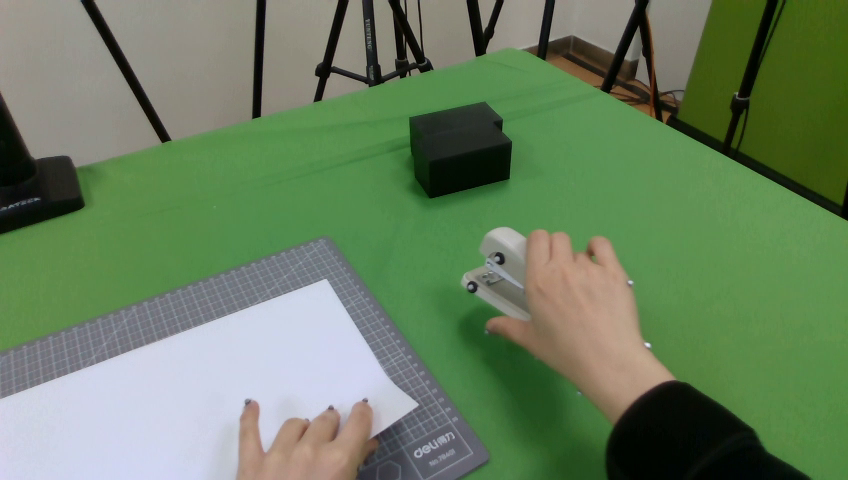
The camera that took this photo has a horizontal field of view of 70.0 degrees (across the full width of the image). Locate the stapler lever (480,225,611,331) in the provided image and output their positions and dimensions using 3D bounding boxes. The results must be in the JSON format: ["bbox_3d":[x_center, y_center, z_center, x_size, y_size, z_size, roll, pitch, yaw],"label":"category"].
[{"bbox_3d":[0.093,0.026,0.476,0.027,0.040,0.117,-23,42,-40],"label":"stapler lever"}]

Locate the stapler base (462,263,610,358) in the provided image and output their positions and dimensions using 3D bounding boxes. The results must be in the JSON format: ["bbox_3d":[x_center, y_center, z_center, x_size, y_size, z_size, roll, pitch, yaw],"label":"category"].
[{"bbox_3d":[0.088,0.047,0.488,0.041,0.024,0.129,-22,42,-40],"label":"stapler base"}]
